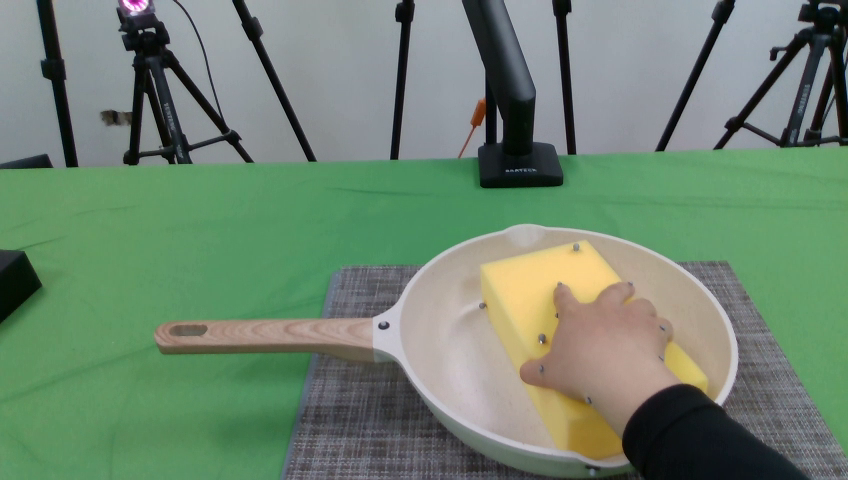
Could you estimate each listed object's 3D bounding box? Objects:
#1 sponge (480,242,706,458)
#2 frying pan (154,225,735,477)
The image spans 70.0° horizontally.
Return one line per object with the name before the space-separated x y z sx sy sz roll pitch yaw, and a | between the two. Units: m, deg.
sponge | 0.140 0.091 0.554 0.118 0.061 0.204 -14 35 -9
frying pan | 0.015 0.088 0.542 0.489 0.103 0.304 3 33 -6
